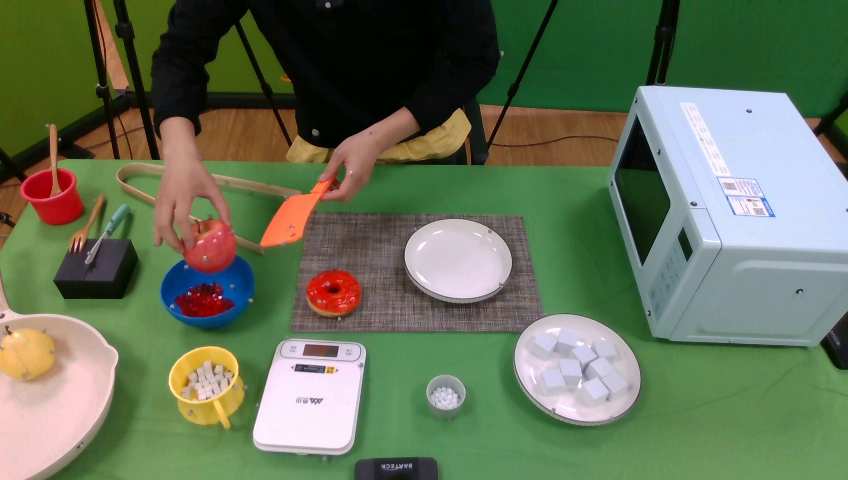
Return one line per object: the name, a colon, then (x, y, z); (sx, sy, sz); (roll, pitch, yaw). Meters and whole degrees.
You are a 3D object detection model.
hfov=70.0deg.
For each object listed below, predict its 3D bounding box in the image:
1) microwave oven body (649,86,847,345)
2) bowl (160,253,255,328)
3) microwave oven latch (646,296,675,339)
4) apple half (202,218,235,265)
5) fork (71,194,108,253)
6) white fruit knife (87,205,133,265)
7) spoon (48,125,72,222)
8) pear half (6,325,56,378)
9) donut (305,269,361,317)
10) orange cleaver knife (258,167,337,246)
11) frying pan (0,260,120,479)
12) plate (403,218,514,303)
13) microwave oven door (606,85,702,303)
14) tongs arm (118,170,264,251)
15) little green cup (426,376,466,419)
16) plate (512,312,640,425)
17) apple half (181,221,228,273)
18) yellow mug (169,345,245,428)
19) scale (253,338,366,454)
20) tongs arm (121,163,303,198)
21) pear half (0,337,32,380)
microwave oven body: (0.568, -0.053, 1.118); (0.326, 0.261, 0.439); (2, 45, -1)
bowl: (-0.362, 0.098, 1.039); (0.151, 0.077, 0.150); (2, 45, -2)
microwave oven latch: (0.412, 0.134, 1.061); (0.030, 0.029, 0.078); (4, 45, 1)
apple half: (-0.316, -0.001, 0.957); (0.033, 0.081, 0.081); (-30, 55, -27)
fork: (-0.634, -0.036, 1.158); (0.028, 0.019, 0.206); (-9, 32, -7)
white fruit knife: (-0.584, -0.013, 1.129); (0.016, 0.027, 0.206); (0, 32, -5)
spoon: (-0.718, -0.131, 1.189); (0.042, 0.021, 0.193); (-3, 90, -7)
pear half: (-0.608, 0.158, 0.935); (0.076, 0.110, 0.056); (31, 51, 20)
donut: (-0.160, 0.094, 1.075); (0.099, 0.048, 0.098); (4, 46, -4)
orange cleaver knife: (-0.209, -0.060, 1.018); (0.077, 0.012, 0.210); (2, 41, 19)
frying pan: (-0.647, 0.164, 0.936); (0.307, 0.103, 0.485); (-19, 58, -22)
plate: (0.064, 0.042, 1.146); (0.209, 0.038, 0.208); (2, 46, -2)
microwave oven door: (0.422, -0.094, 1.140); (0.039, 0.245, 0.353); (2, 46, -1)
tongs arm: (-0.472, -0.058, 1.207); (0.386, 0.028, 0.028); (23, 53, 18)
little green cup: (0.033, 0.248, 0.950); (0.061, 0.039, 0.061); (2, 46, -2)
plate: (0.246, 0.213, 0.999); (0.208, 0.039, 0.206); (2, 46, -2)
apple half: (-0.345, 0.016, 0.939); (0.053, 0.075, 0.080); (-31, 47, -27)
yellow mug: (-0.322, 0.230, 0.922); (0.100, 0.064, 0.130); (-24, 53, -25)
scale: (-0.175, 0.236, 0.951); (0.149, 0.032, 0.199); (4, 46, 0)
tongs arm: (-0.443, -0.115, 1.266); (0.384, 0.026, 0.050); (12, 47, 7)
pear half: (-0.631, 0.184, 0.921); (0.070, 0.088, 0.031); (29, 49, 19)
